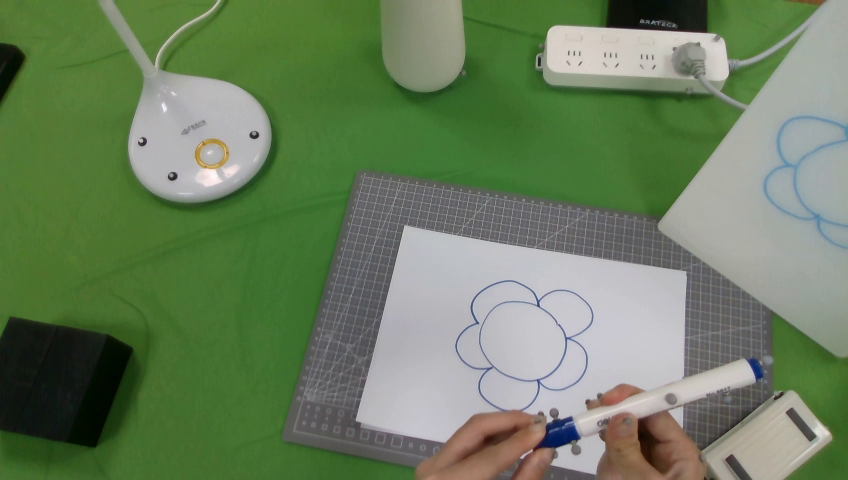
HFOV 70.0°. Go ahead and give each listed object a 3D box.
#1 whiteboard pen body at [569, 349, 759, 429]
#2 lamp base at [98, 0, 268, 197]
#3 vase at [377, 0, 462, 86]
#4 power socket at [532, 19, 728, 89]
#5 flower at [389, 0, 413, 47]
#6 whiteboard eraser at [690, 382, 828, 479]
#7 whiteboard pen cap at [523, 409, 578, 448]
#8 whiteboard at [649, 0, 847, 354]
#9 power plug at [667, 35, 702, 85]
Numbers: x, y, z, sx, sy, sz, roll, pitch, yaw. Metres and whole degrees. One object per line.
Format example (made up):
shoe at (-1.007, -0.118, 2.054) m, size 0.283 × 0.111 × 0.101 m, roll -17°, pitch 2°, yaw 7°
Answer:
whiteboard pen body at (0.137, 0.098, 0.380) m, size 0.140 × 0.017 × 0.017 m, roll -22°, pitch 67°, yaw 11°
lamp base at (-0.270, -0.159, 0.624) m, size 0.160 × 0.181 × 0.178 m, roll -43°, pitch 69°, yaw -15°
vase at (-0.008, -0.257, 0.649) m, size 0.098 × 0.201 × 0.097 m, roll -1°, pitch 66°, yaw 3°
power socket at (0.243, -0.220, 0.717) m, size 0.227 × 0.033 × 0.071 m, roll 5°, pitch 68°, yaw 3°
flower at (0.007, -0.278, 0.569) m, size 0.044 × 0.362 × 0.038 m, roll -32°, pitch 87°, yaw -20°
whiteboard eraser at (0.297, 0.180, 0.542) m, size 0.113 × 0.042 × 0.055 m, roll -32°, pitch 69°, yaw -11°
whiteboard pen cap at (0.083, 0.122, 0.392) m, size 0.033 × 0.018 × 0.018 m, roll -25°, pitch 67°, yaw 13°
whiteboard at (0.396, -0.080, 0.541) m, size 0.216 × 0.307 × 0.144 m, roll 40°, pitch 53°, yaw 17°
power plug at (0.290, -0.198, 0.682) m, size 0.035 × 0.053 × 0.072 m, roll 14°, pitch 75°, yaw 7°
